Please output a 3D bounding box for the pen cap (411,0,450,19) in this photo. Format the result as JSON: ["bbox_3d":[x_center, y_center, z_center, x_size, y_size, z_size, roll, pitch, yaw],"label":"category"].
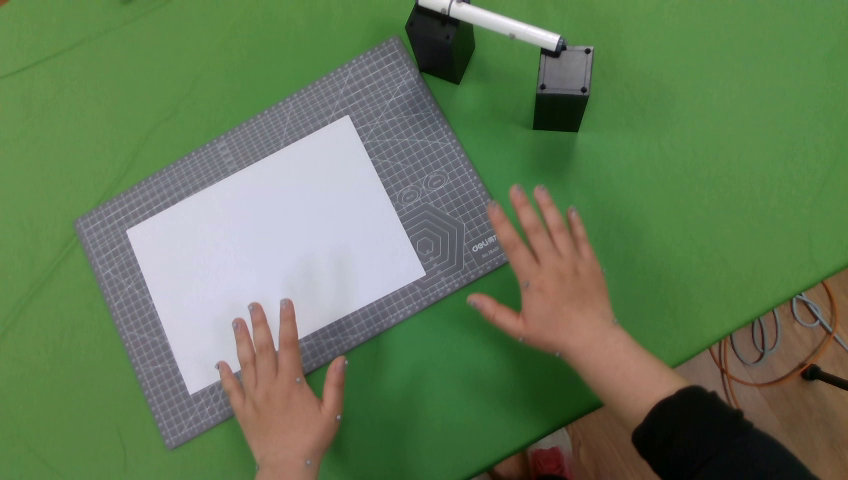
[{"bbox_3d":[0.006,-0.232,0.600,0.038,0.017,0.017,22,85,11],"label":"pen cap"}]

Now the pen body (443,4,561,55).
[{"bbox_3d":[0.063,-0.209,0.589,0.143,0.017,0.017,23,85,10],"label":"pen body"}]
